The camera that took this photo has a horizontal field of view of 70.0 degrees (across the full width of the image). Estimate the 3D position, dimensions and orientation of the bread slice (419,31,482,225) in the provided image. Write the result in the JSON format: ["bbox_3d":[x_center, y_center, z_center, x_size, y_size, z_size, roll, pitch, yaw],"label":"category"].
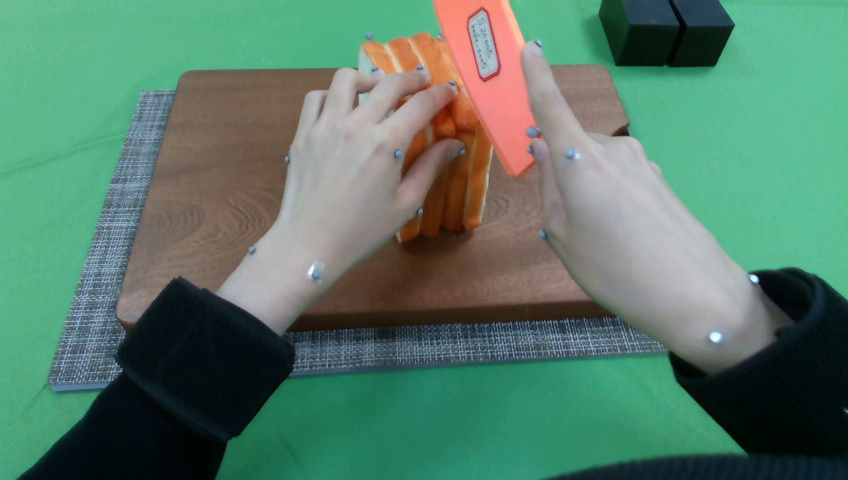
[{"bbox_3d":[0.017,-0.093,0.450,0.019,0.106,0.130,-8,47,-10],"label":"bread slice"}]

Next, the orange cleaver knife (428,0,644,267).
[{"bbox_3d":[0.052,-0.073,0.337,0.012,0.077,0.210,-18,73,-25],"label":"orange cleaver knife"}]

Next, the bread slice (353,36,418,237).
[{"bbox_3d":[-0.031,-0.082,0.442,0.018,0.108,0.132,-9,46,-14],"label":"bread slice"}]
